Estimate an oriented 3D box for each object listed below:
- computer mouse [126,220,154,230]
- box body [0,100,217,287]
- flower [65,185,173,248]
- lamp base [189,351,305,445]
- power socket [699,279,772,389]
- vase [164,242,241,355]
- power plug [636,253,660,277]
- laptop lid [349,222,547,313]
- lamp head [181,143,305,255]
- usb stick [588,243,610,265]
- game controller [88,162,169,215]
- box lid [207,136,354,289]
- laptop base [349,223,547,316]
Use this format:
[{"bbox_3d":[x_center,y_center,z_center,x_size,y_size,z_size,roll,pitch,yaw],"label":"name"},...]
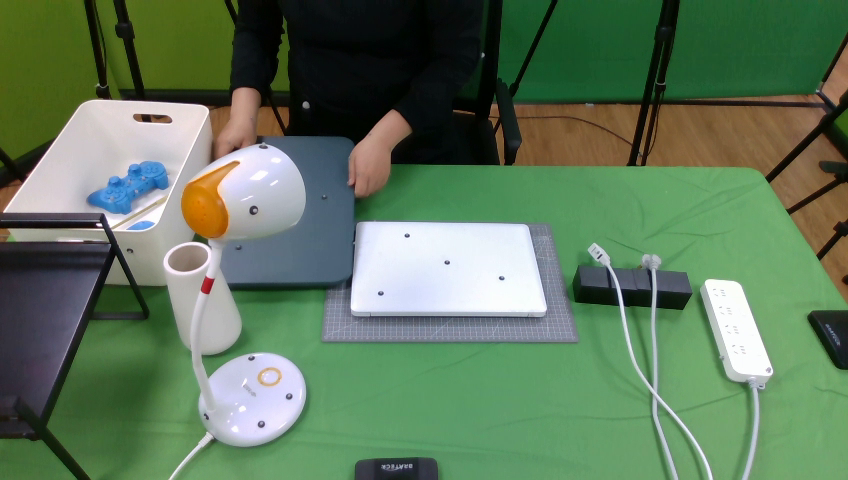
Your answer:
[{"bbox_3d":[-0.537,0.008,1.127,0.062,0.041,0.117,32,56,20],"label":"computer mouse"},{"bbox_3d":[-0.560,-0.092,1.144,0.254,0.161,0.361,3,46,-2],"label":"box body"},{"bbox_3d":[-0.566,-0.058,1.199,0.044,0.038,0.361,43,52,-2],"label":"flower"},{"bbox_3d":[-0.268,0.196,0.876,0.160,0.181,0.179,26,52,20],"label":"lamp base"},{"bbox_3d":[0.551,0.157,1.081,0.072,0.033,0.225,5,46,1],"label":"power socket"},{"bbox_3d":[-0.349,0.096,0.954,0.098,0.201,0.097,3,47,-3],"label":"vase"},{"bbox_3d":[0.415,0.050,1.139,0.035,0.053,0.072,45,49,10],"label":"power plug"},{"bbox_3d":[0.041,0.045,1.143,0.357,0.013,0.240,2,44,-3],"label":"laptop lid"},{"bbox_3d":[-0.216,-0.044,0.697,0.112,0.113,0.123,23,31,17],"label":"lamp head"},{"bbox_3d":[0.336,0.024,1.172,0.027,0.021,0.059,33,17,-12],"label":"usb stick"},{"bbox_3d":[-0.597,-0.113,1.234,0.097,0.052,0.155,29,51,20],"label":"game controller"},{"bbox_3d":[-0.272,-0.066,1.178,0.263,0.015,0.369,0,55,-3],"label":"box lid"},{"bbox_3d":[0.041,0.054,1.148,0.355,0.023,0.234,1,42,-4],"label":"laptop base"}]
